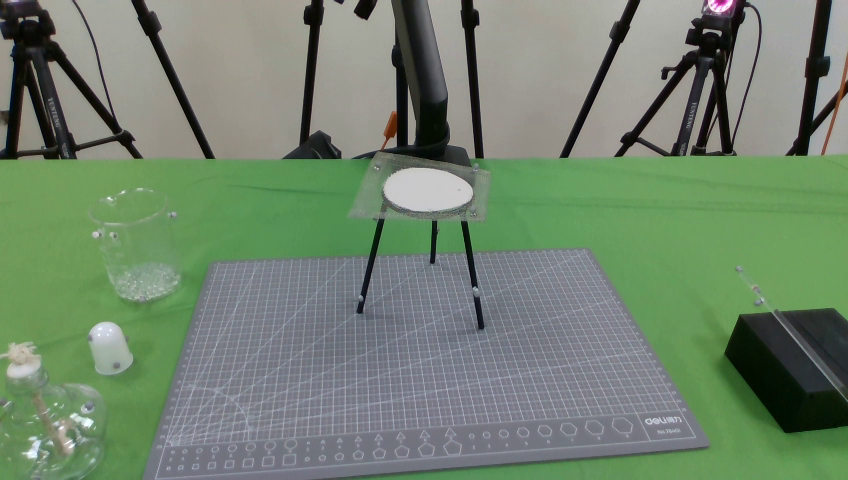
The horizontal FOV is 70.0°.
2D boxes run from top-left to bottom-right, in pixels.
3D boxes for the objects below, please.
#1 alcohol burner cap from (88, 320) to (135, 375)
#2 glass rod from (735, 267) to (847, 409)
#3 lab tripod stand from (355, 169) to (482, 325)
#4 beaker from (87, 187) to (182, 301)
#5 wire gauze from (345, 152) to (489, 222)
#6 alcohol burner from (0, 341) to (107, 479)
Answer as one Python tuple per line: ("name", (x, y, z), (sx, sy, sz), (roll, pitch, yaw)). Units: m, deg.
("alcohol burner cap", (-0.283, 0.094, 0.543), (0.034, 0.048, 0.033), (2, 33, -1))
("glass rod", (0.331, 0.084, 0.547), (0.008, 0.008, 0.197), (0, 34, -4))
("lab tripod stand", (0.003, 0.007, 0.610), (0.148, 0.132, 0.147), (4, 33, -2))
("beaker", (-0.296, 0.005, 0.626), (0.083, 0.101, 0.074), (24, 38, 30))
("wire gauze", (-0.001, -0.050, 0.573), (0.121, 0.011, 0.124), (7, 33, 5))
("alcohol burner", (-0.276, 0.121, 0.435), (0.078, 0.120, 0.077), (0, 33, 0))
